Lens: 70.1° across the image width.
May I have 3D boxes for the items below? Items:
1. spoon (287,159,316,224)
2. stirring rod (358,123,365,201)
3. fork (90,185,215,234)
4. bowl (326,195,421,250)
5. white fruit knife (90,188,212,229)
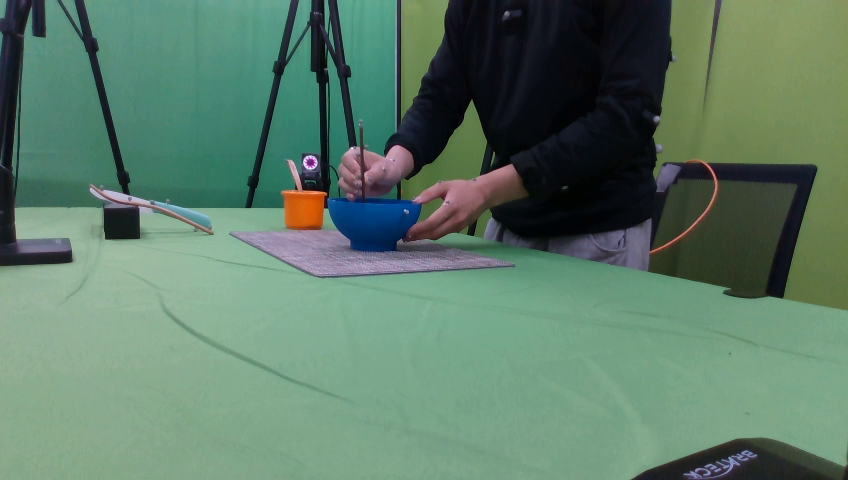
[{"bbox_3d":[-0.261,-0.104,1.263,0.042,0.193,0.021,0,-37,-28],"label":"spoon"},{"bbox_3d":[-0.093,-0.089,0.909,0.006,0.176,0.014,-6,24,-14],"label":"stirring rod"},{"bbox_3d":[-0.452,-0.049,1.018,0.208,0.018,0.028,21,-7,-33],"label":"fork"},{"bbox_3d":[-0.081,-0.027,0.958,0.151,0.077,0.151,3,7,0],"label":"bowl"},{"bbox_3d":[-0.478,-0.058,1.073,0.208,0.027,0.016,17,-4,-30],"label":"white fruit knife"}]
